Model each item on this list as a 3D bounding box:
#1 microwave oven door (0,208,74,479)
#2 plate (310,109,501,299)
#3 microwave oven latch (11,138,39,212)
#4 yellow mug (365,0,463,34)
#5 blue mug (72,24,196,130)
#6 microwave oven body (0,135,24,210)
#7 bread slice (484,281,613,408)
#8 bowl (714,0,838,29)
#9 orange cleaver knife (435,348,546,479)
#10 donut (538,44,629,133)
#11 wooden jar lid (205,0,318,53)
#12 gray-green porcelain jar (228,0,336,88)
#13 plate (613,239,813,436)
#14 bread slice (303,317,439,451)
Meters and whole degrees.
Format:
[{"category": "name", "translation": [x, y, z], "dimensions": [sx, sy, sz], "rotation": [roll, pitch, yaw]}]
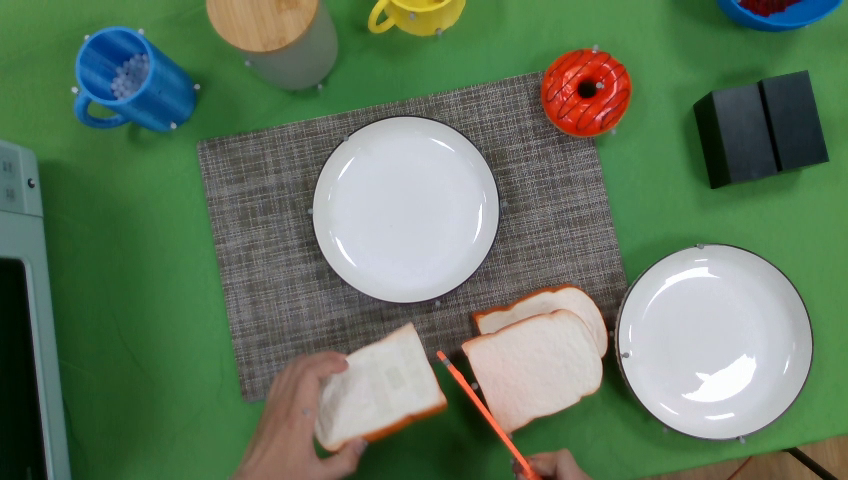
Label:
[{"category": "microwave oven door", "translation": [-0.427, 0.139, 0.560], "dimensions": [0.039, 0.244, 0.355], "rotation": [-9, 86, 2]}, {"category": "plate", "translation": [-0.019, -0.039, 0.674], "dimensions": [0.207, 0.039, 0.207], "rotation": [0, 87, 2]}, {"category": "microwave oven latch", "translation": [-0.452, -0.071, 0.674], "dimensions": [0.030, 0.029, 0.079], "rotation": [-8, 87, 1]}, {"category": "yellow mug", "translation": [-0.016, -0.281, 0.676], "dimensions": [0.131, 0.064, 0.100], "rotation": [-43, 86, 0]}, {"category": "blue mug", "translation": [-0.323, -0.164, 0.659], "dimensions": [0.116, 0.106, 0.082], "rotation": [-37, 86, 0]}, {"category": "microwave oven body", "translation": [-0.577, 0.119, 0.571], "dimensions": [0.326, 0.260, 0.441], "rotation": [-8, 87, 1]}, {"category": "bread slice", "translation": [0.138, 0.102, 0.632], "dimensions": [0.135, 0.018, 0.106], "rotation": [-17, 82, -27]}, {"category": "bowl", "translation": [0.371, -0.293, 0.658], "dimensions": [0.151, 0.077, 0.151], "rotation": [0, 87, 2]}, {"category": "orange cleaver knife", "translation": [0.079, 0.193, 0.595], "dimensions": [0.012, 0.077, 0.211], "rotation": [-38, 94, -8]}, {"category": "donut", "translation": [0.176, -0.168, 0.671], "dimensions": [0.099, 0.048, 0.099], "rotation": [0, 88, 2]}, {"category": "wooden jar lid", "translation": [-0.155, -0.232, 0.586], "dimensions": [0.108, 0.021, 0.108], "rotation": [0, 85, 3]}, {"category": "gray-green porcelain jar", "translation": [-0.153, -0.227, 0.648], "dimensions": [0.106, 0.126, 0.105], "rotation": [0, 86, 2]}, {"category": "plate", "translation": [0.308, 0.103, 0.659], "dimensions": [0.209, 0.038, 0.208], "rotation": [0, 87, 2]}, {"category": "bread slice", "translation": [-0.059, 0.145, 0.598], "dimensions": [0.131, 0.103, 0.019], "rotation": [-33, 129, -3]}]
